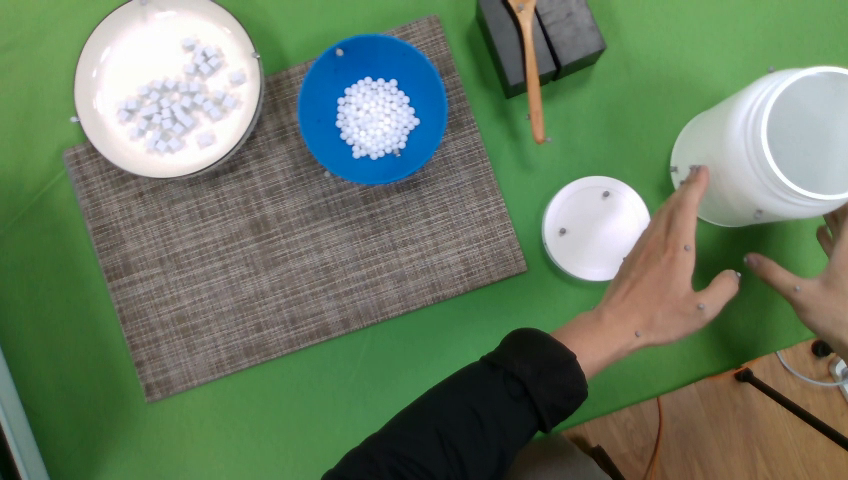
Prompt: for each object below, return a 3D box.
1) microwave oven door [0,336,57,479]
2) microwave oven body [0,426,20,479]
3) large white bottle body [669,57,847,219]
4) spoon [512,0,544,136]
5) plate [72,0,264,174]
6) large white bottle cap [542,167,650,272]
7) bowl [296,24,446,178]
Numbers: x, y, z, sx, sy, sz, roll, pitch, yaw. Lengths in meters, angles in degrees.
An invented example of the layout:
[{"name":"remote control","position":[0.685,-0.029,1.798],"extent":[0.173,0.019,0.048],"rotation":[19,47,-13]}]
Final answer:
[{"name":"microwave oven door","position":[-0.475,0.140,0.551],"extent":[0.039,0.244,0.355],"rotation":[-22,89,2]},{"name":"microwave oven body","position":[-0.626,0.156,0.561],"extent":[0.326,0.260,0.441],"rotation":[-22,89,1]},{"name":"large white bottle body","position":[0.326,-0.090,0.572],"extent":[0.130,0.185,0.130],"rotation":[0,89,2]},{"name":"spoon","position":[0.105,-0.203,0.616],"extent":[0.041,0.021,0.194],"rotation":[-8,95,-2]},{"name":"plate","position":[-0.274,-0.172,0.663],"extent":[0.209,0.038,0.208],"rotation":[0,87,3]},{"name":"large white bottle cap","position":[0.187,-0.022,0.659],"extent":[0.115,0.018,0.114],"rotation":[0,90,2]},{"name":"bowl","position":[-0.050,-0.136,0.634],"extent":[0.151,0.077,0.151],"rotation":[0,90,2]}]
